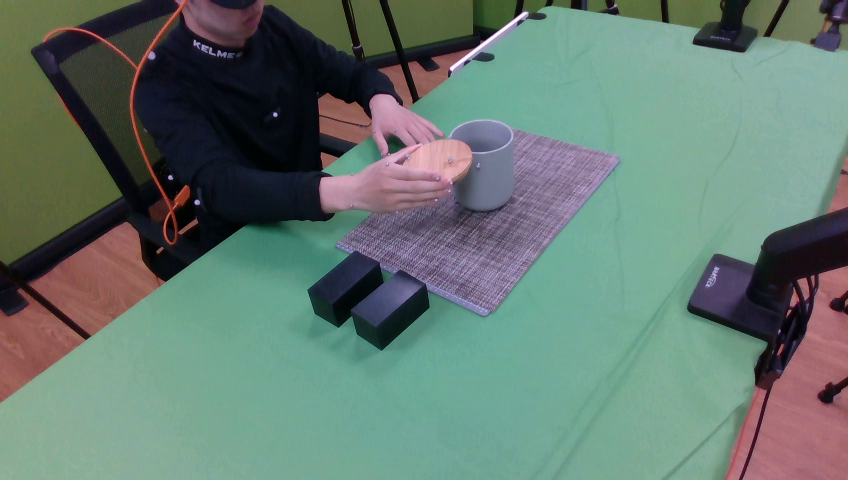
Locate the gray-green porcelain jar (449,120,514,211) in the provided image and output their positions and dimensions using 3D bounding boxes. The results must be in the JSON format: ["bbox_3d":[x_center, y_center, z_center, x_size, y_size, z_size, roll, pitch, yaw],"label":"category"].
[{"bbox_3d":[0.098,-0.120,1.009,0.106,0.127,0.105,-4,41,4],"label":"gray-green porcelain jar"}]

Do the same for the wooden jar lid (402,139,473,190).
[{"bbox_3d":[0.021,-0.110,0.897,0.108,0.021,0.108,-12,41,11],"label":"wooden jar lid"}]
